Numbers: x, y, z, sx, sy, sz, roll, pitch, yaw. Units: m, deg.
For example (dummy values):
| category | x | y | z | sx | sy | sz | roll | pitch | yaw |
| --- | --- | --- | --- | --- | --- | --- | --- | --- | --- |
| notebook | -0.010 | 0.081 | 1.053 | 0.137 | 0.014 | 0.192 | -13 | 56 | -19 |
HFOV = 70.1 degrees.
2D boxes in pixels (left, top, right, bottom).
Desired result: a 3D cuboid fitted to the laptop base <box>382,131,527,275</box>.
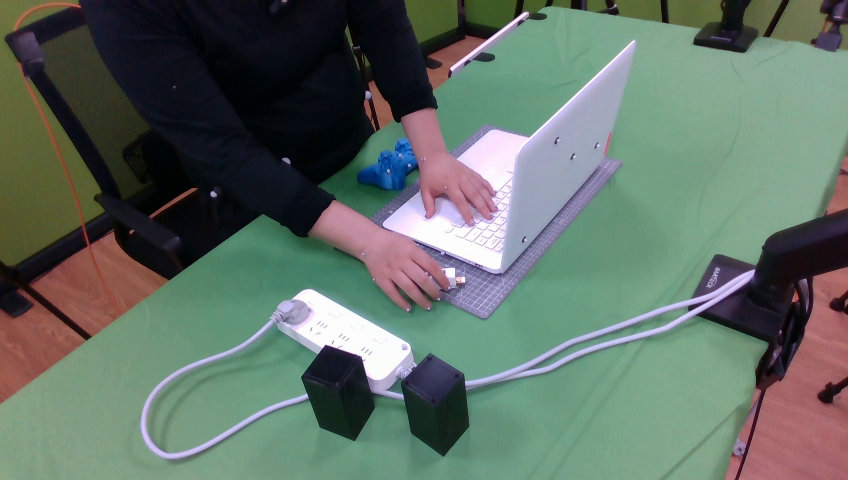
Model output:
| category | x | y | z | sx | sy | sz | roll | pitch | yaw |
| --- | --- | --- | --- | --- | --- | --- | --- | --- | --- |
| laptop base | 0.124 | -0.080 | 1.048 | 0.233 | 0.023 | 0.355 | 20 | 47 | 33 |

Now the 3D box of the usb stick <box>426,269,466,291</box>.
| category | x | y | z | sx | sy | sz | roll | pitch | yaw |
| --- | --- | --- | --- | --- | --- | --- | --- | --- | --- |
| usb stick | 0.032 | 0.059 | 0.889 | 0.059 | 0.027 | 0.021 | -4 | 47 | 2 |

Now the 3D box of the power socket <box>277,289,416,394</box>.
| category | x | y | z | sx | sy | sz | roll | pitch | yaw |
| --- | --- | --- | --- | --- | --- | --- | --- | --- | --- |
| power socket | -0.112 | 0.132 | 0.820 | 0.225 | 0.033 | 0.072 | 25 | 49 | 32 |

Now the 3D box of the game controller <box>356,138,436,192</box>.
| category | x | y | z | sx | sy | sz | roll | pitch | yaw |
| --- | --- | --- | --- | --- | --- | --- | --- | --- | --- |
| game controller | -0.048 | -0.149 | 1.135 | 0.096 | 0.052 | 0.155 | 27 | 51 | 28 |

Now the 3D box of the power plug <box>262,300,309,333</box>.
| category | x | y | z | sx | sy | sz | roll | pitch | yaw |
| --- | --- | --- | --- | --- | --- | --- | --- | --- | --- |
| power plug | -0.192 | 0.110 | 0.829 | 0.073 | 0.053 | 0.035 | -36 | 47 | -24 |

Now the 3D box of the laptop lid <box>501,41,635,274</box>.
| category | x | y | z | sx | sy | sz | roll | pitch | yaw |
| --- | --- | --- | --- | --- | --- | --- | --- | --- | --- |
| laptop lid | 0.219 | -0.127 | 0.904 | 0.013 | 0.242 | 0.358 | 28 | 50 | 25 |
